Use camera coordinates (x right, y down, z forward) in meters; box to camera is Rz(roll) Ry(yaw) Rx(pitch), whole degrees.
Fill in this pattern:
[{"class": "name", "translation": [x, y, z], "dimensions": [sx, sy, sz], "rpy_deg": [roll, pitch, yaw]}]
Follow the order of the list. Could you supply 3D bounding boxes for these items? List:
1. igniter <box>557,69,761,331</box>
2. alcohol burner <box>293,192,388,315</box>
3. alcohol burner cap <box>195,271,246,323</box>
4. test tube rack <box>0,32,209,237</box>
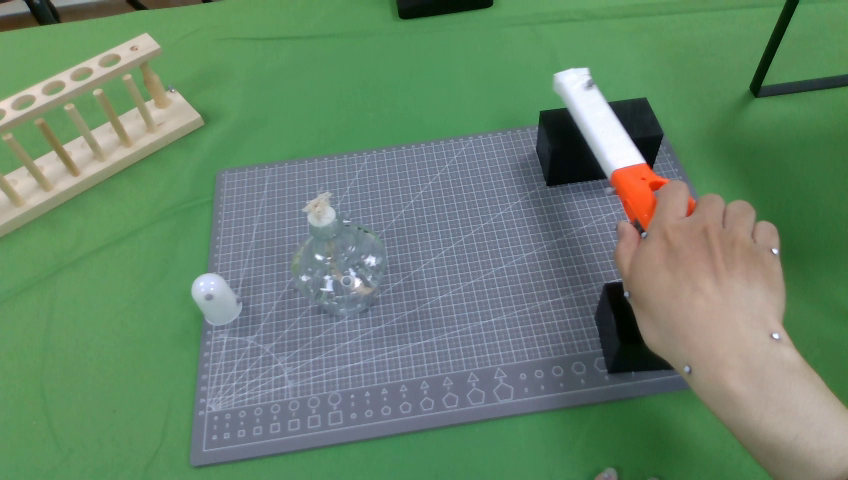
[{"class": "igniter", "translation": [0.167, -0.045, 0.467], "dimensions": [0.057, 0.025, 0.273], "rpy_deg": [-14, 52, -4]}, {"class": "alcohol burner", "translation": [-0.069, 0.007, 0.478], "dimensions": [0.078, 0.120, 0.077], "rpy_deg": [-3, 51, 4]}, {"class": "alcohol burner cap", "translation": [-0.171, 0.045, 0.503], "dimensions": [0.034, 0.048, 0.033], "rpy_deg": [-2, 55, 4]}, {"class": "test tube rack", "translation": [-0.351, -0.106, 0.604], "dimensions": [0.242, 0.086, 0.066], "rpy_deg": [-35, 59, -20]}]
